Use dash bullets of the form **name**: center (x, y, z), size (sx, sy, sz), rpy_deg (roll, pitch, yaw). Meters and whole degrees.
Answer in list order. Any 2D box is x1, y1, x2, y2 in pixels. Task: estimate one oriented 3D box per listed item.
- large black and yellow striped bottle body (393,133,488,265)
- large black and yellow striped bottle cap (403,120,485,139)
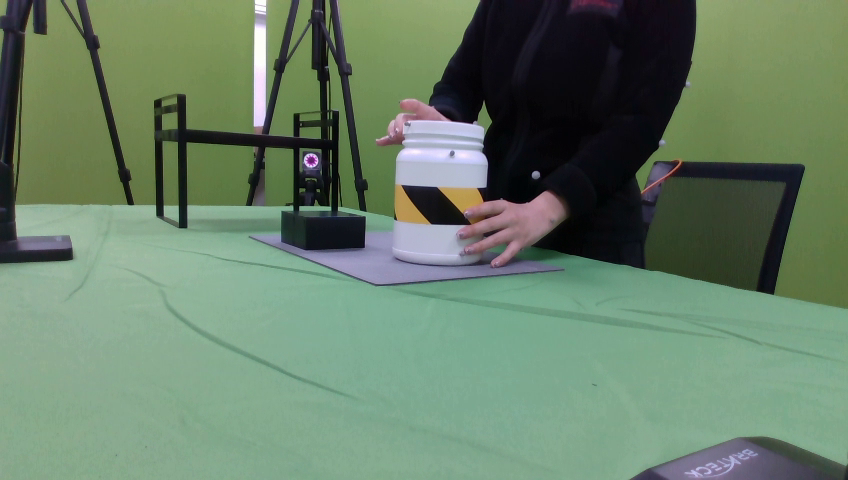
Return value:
- **large black and yellow striped bottle body**: center (0.023, -0.064, 0.851), size (0.131, 0.184, 0.130), rpy_deg (2, 7, 0)
- **large black and yellow striped bottle cap**: center (0.028, -0.153, 0.840), size (0.115, 0.019, 0.115), rpy_deg (3, 6, 0)
